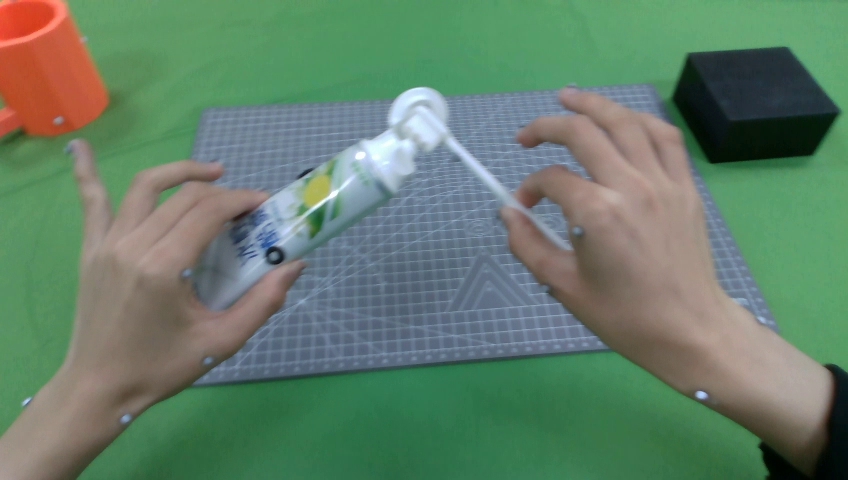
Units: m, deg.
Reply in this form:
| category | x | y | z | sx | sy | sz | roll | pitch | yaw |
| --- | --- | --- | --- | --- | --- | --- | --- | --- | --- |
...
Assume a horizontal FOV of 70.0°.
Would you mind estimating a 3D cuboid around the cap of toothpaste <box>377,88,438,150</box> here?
| category | x | y | z | sx | sy | sz | roll | pitch | yaw |
| --- | --- | --- | --- | --- | --- | --- | --- | --- | --- |
| cap of toothpaste | -0.008 | -0.066 | 0.338 | 0.037 | 0.037 | 0.011 | -18 | 29 | -13 |

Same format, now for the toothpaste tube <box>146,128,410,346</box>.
| category | x | y | z | sx | sy | sz | roll | pitch | yaw |
| --- | --- | --- | --- | --- | --- | --- | --- | --- | --- |
| toothpaste tube | -0.079 | -0.009 | 0.327 | 0.165 | 0.035 | 0.054 | -34 | 54 | 3 |

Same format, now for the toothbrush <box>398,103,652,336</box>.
| category | x | y | z | sx | sy | sz | roll | pitch | yaw |
| --- | --- | --- | --- | --- | --- | --- | --- | --- | --- |
| toothbrush | 0.056 | -0.008 | 0.328 | 0.182 | 0.014 | 0.016 | 42 | 60 | -5 |

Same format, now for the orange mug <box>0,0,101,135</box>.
| category | x | y | z | sx | sy | sz | roll | pitch | yaw |
| --- | --- | --- | --- | --- | --- | --- | --- | --- | --- |
| orange mug | -0.375 | -0.152 | 0.552 | 0.083 | 0.101 | 0.126 | 29 | 52 | 22 |
